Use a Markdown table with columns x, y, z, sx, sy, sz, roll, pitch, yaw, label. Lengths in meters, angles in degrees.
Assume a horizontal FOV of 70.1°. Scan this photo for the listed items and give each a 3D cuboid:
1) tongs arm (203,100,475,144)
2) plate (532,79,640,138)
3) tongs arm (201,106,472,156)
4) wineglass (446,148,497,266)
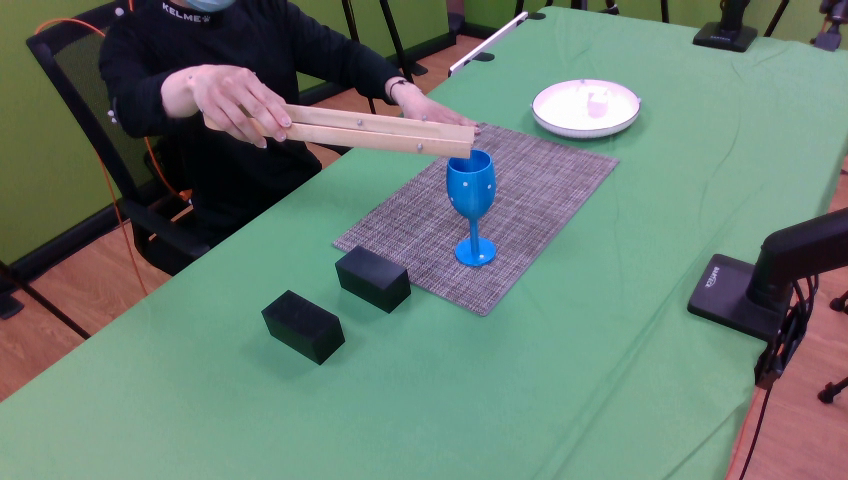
| x | y | z | sx | sy | sz | roll | pitch | yaw | label |
| --- | --- | --- | --- | --- | --- | --- | --- | --- | --- |
| -0.122 | -0.162 | 0.846 | 0.384 | 0.026 | 0.050 | 9 | 37 | 10 | tongs arm |
| 0.322 | -0.259 | 1.212 | 0.209 | 0.038 | 0.208 | -4 | 40 | 4 | plate |
| -0.127 | -0.147 | 0.824 | 0.387 | 0.028 | 0.028 | 7 | 40 | 7 | tongs arm |
| 0.072 | -0.046 | 0.889 | 0.074 | 0.173 | 0.073 | -4 | 41 | 4 | wineglass |
